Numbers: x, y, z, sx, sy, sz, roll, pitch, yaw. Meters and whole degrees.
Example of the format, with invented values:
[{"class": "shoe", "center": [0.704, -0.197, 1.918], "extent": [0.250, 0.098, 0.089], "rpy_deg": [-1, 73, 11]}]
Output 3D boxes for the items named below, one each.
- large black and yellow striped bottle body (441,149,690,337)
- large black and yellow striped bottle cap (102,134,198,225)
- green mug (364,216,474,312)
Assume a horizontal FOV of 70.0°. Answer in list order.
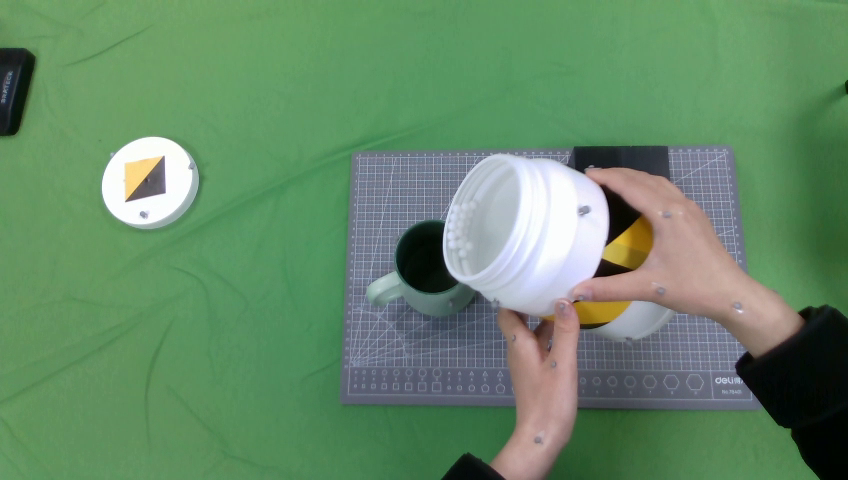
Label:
[{"class": "large black and yellow striped bottle body", "center": [0.120, 0.003, 0.523], "extent": [0.185, 0.130, 0.130], "rpy_deg": [18, 74, -28]}, {"class": "large black and yellow striped bottle cap", "center": [-0.336, -0.075, 0.740], "extent": [0.115, 0.019, 0.114], "rpy_deg": [-1, 75, 4]}, {"class": "green mug", "center": [-0.005, 0.033, 0.643], "extent": [0.125, 0.105, 0.092], "rpy_deg": [-25, 76, -3]}]
